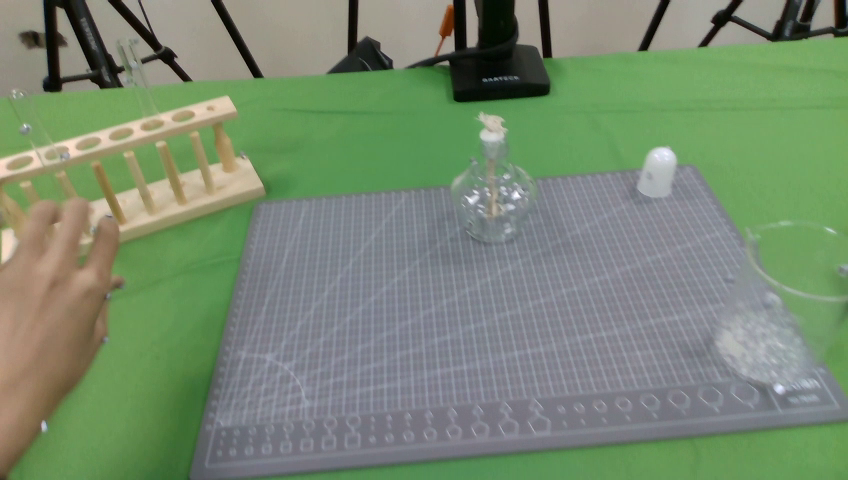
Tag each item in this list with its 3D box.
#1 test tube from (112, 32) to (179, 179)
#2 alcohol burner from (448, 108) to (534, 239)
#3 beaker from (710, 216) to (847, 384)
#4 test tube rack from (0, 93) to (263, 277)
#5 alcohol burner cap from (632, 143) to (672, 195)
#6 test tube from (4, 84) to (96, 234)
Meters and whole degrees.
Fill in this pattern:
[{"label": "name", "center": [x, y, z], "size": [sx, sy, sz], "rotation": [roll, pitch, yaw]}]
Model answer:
[{"label": "test tube", "center": [-0.261, -0.121, 0.575], "size": [0.017, 0.151, 0.017], "rotation": [-1, 40, 2]}, {"label": "alcohol burner", "center": [0.058, -0.060, 0.532], "size": [0.078, 0.120, 0.077], "rotation": [-3, 42, 3]}, {"label": "beaker", "center": [0.243, 0.043, 0.418], "size": [0.074, 0.101, 0.083], "rotation": [-25, 46, -21]}, {"label": "test tube rack", "center": [-0.290, -0.058, 0.582], "size": [0.243, 0.086, 0.066], "rotation": [-21, 46, -18]}, {"label": "alcohol burner cap", "center": [0.221, -0.071, 0.585], "size": [0.034, 0.048, 0.033], "rotation": [-2, 43, 2]}, {"label": "test tube", "center": [-0.322, -0.065, 0.526], "size": [0.017, 0.152, 0.017], "rotation": [-2, 41, 2]}]
